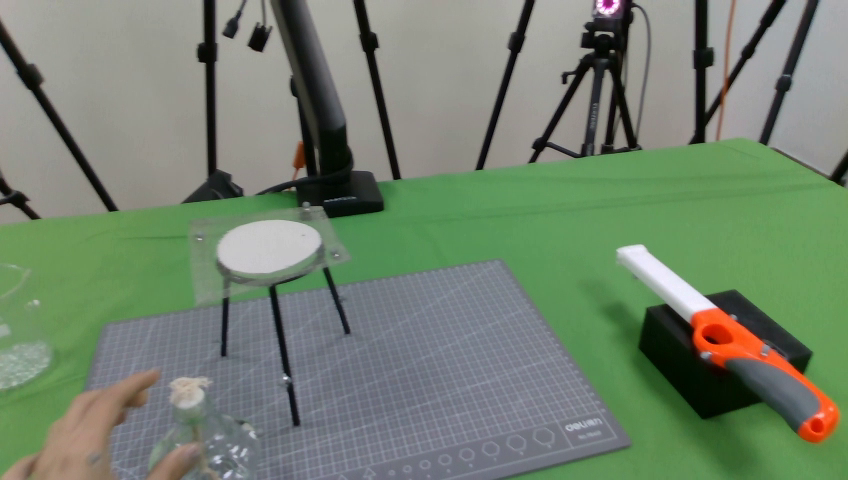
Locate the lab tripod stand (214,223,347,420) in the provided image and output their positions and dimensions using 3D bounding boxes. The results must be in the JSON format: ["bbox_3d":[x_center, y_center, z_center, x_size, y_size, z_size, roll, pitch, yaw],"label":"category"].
[{"bbox_3d":[-0.129,0.065,0.545,0.148,0.132,0.147,1,32,0],"label":"lab tripod stand"}]

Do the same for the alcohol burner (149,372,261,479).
[{"bbox_3d":[-0.160,0.142,0.436,0.078,0.120,0.077,1,30,0],"label":"alcohol burner"}]

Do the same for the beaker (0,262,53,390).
[{"bbox_3d":[-0.395,0.081,0.562,0.073,0.101,0.084,19,36,29],"label":"beaker"}]

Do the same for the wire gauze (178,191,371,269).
[{"bbox_3d":[-0.126,-0.010,0.506,0.125,0.011,0.120,-17,30,-38],"label":"wire gauze"}]

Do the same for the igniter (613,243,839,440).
[{"bbox_3d":[0.253,0.074,0.541,0.057,0.025,0.273,-9,29,-12],"label":"igniter"}]
